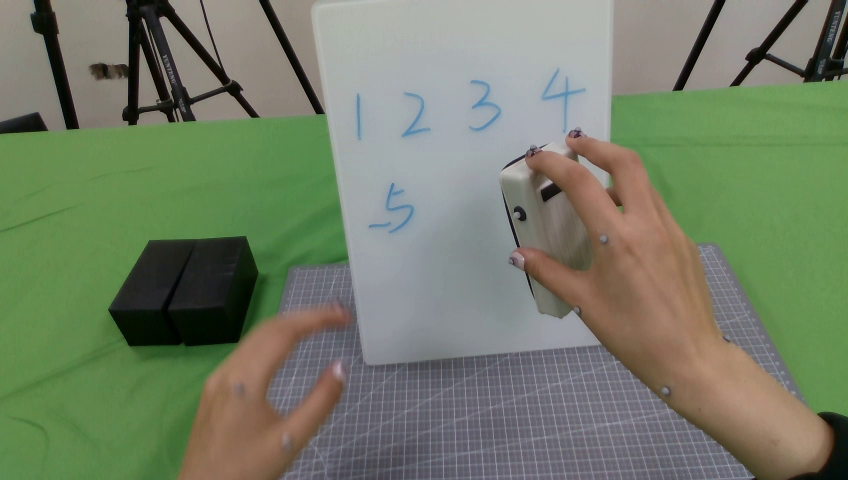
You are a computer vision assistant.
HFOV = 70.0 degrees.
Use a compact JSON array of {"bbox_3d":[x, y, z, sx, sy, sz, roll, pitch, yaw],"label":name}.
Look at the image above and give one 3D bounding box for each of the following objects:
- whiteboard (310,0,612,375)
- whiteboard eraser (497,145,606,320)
[{"bbox_3d":[0.039,-0.056,0.544,0.217,0.307,0.143,-5,21,1],"label":"whiteboard"},{"bbox_3d":[0.088,-0.005,0.419,0.055,0.113,0.041,-33,25,-27],"label":"whiteboard eraser"}]
